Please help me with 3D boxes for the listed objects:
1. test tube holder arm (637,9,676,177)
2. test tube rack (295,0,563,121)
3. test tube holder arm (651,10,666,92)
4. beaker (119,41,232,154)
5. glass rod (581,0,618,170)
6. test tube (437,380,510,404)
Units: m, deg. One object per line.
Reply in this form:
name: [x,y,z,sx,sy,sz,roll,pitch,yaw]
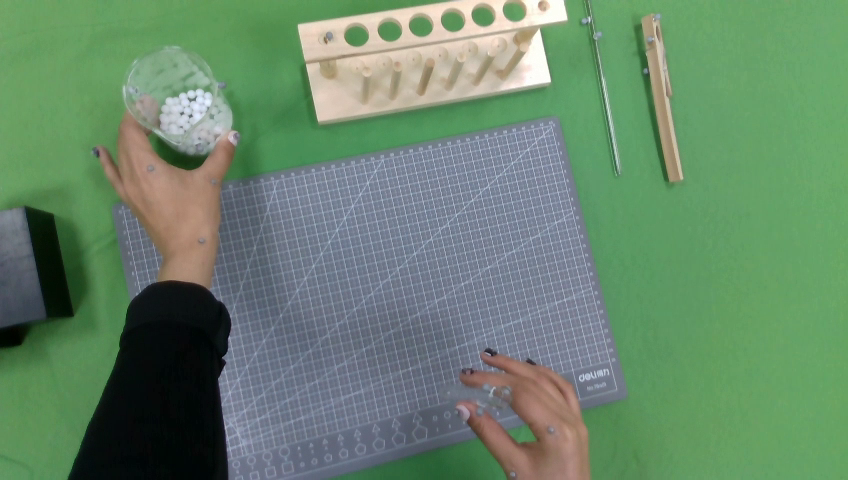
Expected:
test tube holder arm: [0.246,-0.155,0.640,0.013,0.015,0.178,-4,86,-37]
test tube rack: [0.006,-0.179,0.583,0.243,0.085,0.066,-12,86,-7]
test tube holder arm: [0.245,-0.200,0.646,0.010,0.015,0.087,-4,85,-37]
beaker: [-0.214,-0.118,0.541,0.074,0.100,0.084,-9,87,-8]
glass rod: [0.184,-0.171,0.641,0.008,0.008,0.199,-9,86,-8]
test tube: [0.035,0.120,0.483,0.017,0.150,0.017,3,77,-13]
